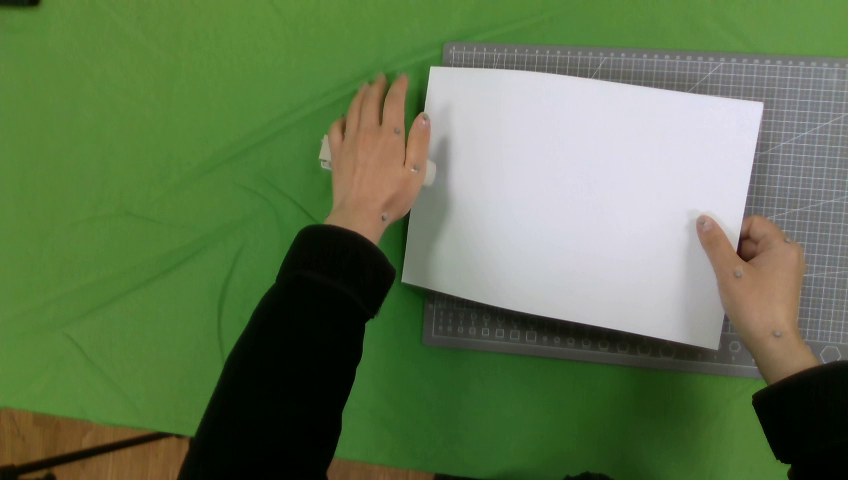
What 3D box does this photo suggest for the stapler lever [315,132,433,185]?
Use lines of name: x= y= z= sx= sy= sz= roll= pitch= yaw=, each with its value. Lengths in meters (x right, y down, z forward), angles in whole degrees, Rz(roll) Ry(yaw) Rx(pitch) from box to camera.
stapler lever: x=-0.050 y=-0.078 z=0.572 sx=0.118 sy=0.040 sz=0.027 roll=15 pitch=90 yaw=9

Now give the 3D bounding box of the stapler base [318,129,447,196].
stapler base: x=-0.044 y=-0.078 z=0.596 sx=0.130 sy=0.024 sz=0.041 roll=15 pitch=90 yaw=9
